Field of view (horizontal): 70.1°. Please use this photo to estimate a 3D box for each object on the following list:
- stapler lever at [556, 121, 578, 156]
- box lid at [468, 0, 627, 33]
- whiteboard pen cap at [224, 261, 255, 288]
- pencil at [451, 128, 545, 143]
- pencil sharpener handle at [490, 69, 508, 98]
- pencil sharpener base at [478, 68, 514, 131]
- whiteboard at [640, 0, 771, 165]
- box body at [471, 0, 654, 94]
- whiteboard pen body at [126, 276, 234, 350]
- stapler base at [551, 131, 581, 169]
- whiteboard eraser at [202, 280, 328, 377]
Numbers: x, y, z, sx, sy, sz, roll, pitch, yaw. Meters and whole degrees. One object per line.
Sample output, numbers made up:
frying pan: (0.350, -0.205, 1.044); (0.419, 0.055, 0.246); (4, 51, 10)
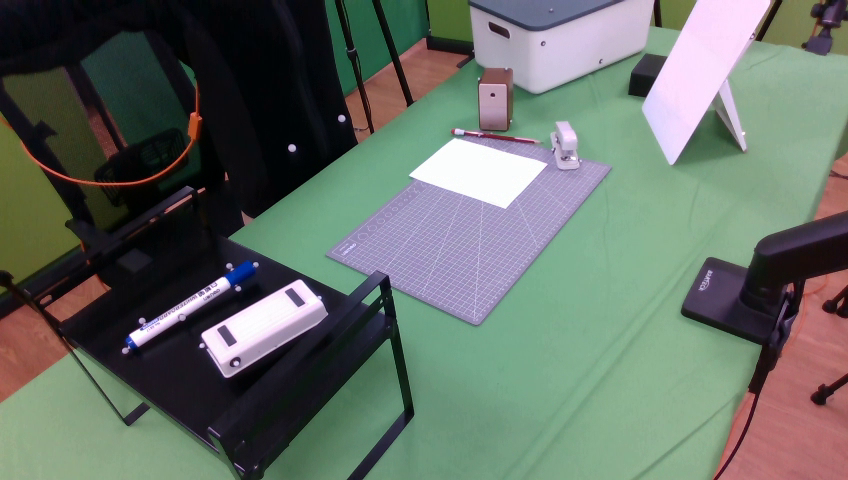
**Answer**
stapler lever: (0.266, -0.198, 1.128); (0.027, 0.040, 0.117); (0, 38, 3)
box lid: (0.312, -0.555, 1.357); (0.373, 0.015, 0.261); (-27, 44, -20)
whiteboard pen cap: (-0.207, 0.039, 0.677); (0.033, 0.018, 0.018); (-36, 47, -18)
pencil: (0.145, -0.207, 1.205); (0.193, 0.012, 0.012); (11, 44, 20)
pencil sharpener handle: (0.154, -0.330, 1.254); (0.036, 0.068, 0.030); (21, 43, 0)
pencil sharpener base: (0.148, -0.286, 1.225); (0.061, 0.107, 0.076); (5, 41, 15)
whiteboard: (0.544, -0.299, 1.076); (0.144, 0.305, 0.216); (12, 40, -7)
box body: (0.319, -0.498, 1.405); (0.365, 0.161, 0.252); (-26, 43, -21)
whiteboard pen body: (-0.251, 0.070, 0.649); (0.141, 0.017, 0.017); (-36, 48, -26)
stapler base: (0.268, -0.178, 1.142); (0.041, 0.024, 0.130); (0, 37, 3)
whiteboard eraser: (-0.156, 0.088, 0.600); (0.113, 0.042, 0.055); (-30, 47, -24)
